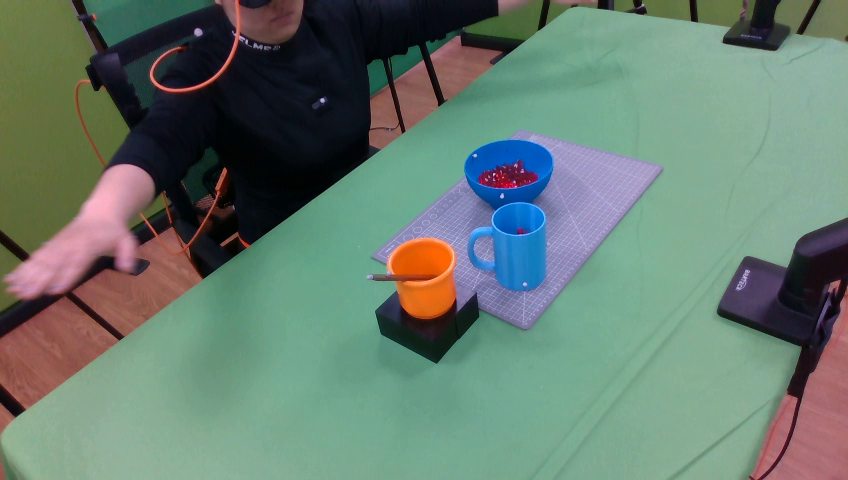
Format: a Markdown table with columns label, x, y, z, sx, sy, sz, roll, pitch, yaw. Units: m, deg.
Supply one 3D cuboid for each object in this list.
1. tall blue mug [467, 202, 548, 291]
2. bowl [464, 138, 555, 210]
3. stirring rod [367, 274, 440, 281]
| label | x | y | z | sx | sy | sz | roll | pitch | yaw |
| --- | --- | --- | --- | --- | --- | --- | --- | --- | --- |
| tall blue mug | 0.125 | 0.015 | 0.868 | 0.107 | 0.108 | 0.077 | -21 | 42 | -14 |
| bowl | 0.145 | -0.100 | 1.025 | 0.151 | 0.077 | 0.150 | -5 | 40 | 5 |
| stirring rod | -0.021 | 0.047 | 0.762 | 0.014 | 0.006 | 0.177 | 17 | 5 | 26 |
